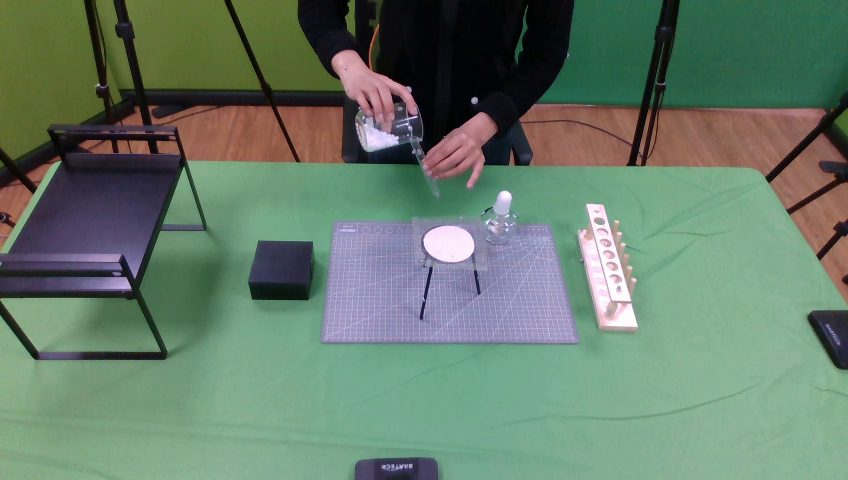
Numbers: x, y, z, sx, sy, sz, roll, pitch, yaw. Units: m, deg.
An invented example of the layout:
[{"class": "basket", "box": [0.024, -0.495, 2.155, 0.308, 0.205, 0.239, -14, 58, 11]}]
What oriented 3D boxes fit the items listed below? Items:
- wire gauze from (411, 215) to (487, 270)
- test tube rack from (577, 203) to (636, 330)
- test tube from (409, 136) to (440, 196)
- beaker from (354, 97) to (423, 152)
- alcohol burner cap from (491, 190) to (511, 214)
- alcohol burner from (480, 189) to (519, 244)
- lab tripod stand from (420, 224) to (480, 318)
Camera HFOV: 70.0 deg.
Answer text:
[{"class": "wire gauze", "box": [0.041, 0.002, 1.026, 0.125, 0.011, 0.120, 1, 46, -3]}, {"class": "test tube rack", "box": [0.348, 0.045, 1.138, 0.067, 0.085, 0.241, 2, 46, -2]}, {"class": "test tube", "box": [0.002, -0.135, 1.128, 0.017, 0.151, 0.017, -11, 50, 13]}, {"class": "beaker", "box": [-0.062, -0.193, 1.032, 0.100, 0.084, 0.073, -17, 50, -16]}, {"class": "alcohol burner cap", "box": [0.151, -0.076, 1.166, 0.034, 0.048, 0.033, 5, 52, -6]}, {"class": "alcohol burner", "box": [0.150, -0.051, 1.191, 0.078, 0.120, 0.077, 1, 46, -1]}, {"class": "lab tripod stand", "box": [0.034, 0.051, 1.071, 0.148, 0.132, 0.147, 3, 48, -3]}]
